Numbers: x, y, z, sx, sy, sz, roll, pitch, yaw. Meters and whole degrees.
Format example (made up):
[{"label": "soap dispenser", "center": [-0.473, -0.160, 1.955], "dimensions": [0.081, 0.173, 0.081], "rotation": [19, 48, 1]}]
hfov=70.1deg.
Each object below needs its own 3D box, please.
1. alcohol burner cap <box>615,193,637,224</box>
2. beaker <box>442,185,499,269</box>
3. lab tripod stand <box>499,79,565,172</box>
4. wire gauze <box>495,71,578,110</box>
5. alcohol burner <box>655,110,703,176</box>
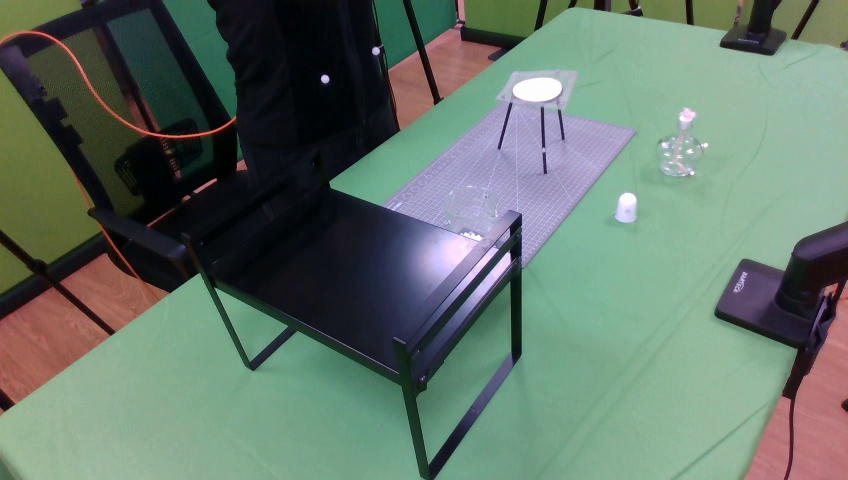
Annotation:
[{"label": "alcohol burner cap", "center": [0.327, -0.054, 0.974], "dimensions": [0.034, 0.048, 0.033], "rotation": [-4, 38, 4]}, {"label": "beaker", "center": [0.071, -0.015, 0.844], "dimensions": [0.074, 0.101, 0.083], "rotation": [-35, 48, -29]}, {"label": "lab tripod stand", "center": [0.204, -0.216, 1.107], "dimensions": [0.148, 0.132, 0.147], "rotation": [-6, 41, 5]}, {"label": "wire gauze", "center": [0.199, -0.268, 1.065], "dimensions": [0.124, 0.011, 0.121], "rotation": [10, 44, 22]}, {"label": "alcohol burner", "center": [0.440, -0.170, 1.037], "dimensions": [0.078, 0.119, 0.077], "rotation": [-3, 40, 3]}]
